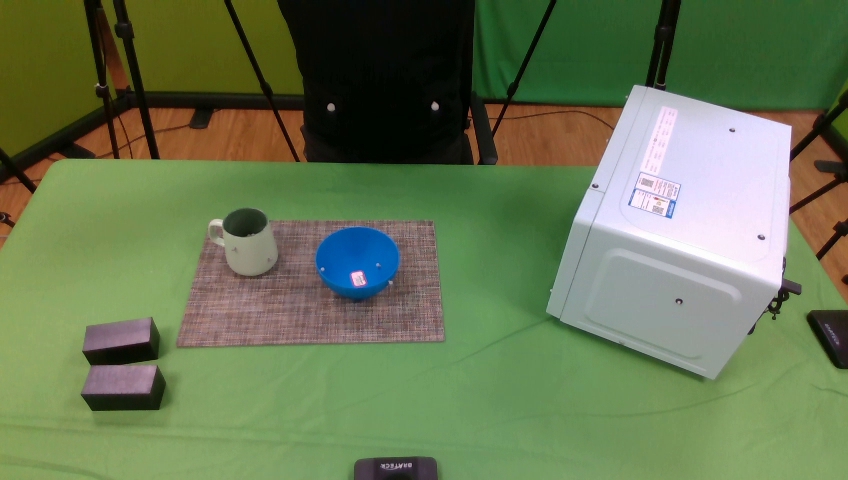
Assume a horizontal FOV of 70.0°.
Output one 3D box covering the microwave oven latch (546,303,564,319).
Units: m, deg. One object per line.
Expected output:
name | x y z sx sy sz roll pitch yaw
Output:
microwave oven latch | 0.242 0.102 1.081 0.030 0.029 0.079 21 48 17

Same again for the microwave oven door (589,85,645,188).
microwave oven door | 0.342 -0.107 1.149 0.039 0.245 0.354 20 48 15

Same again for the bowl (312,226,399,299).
bowl | -0.120 0.054 1.091 0.151 0.077 0.150 2 46 -2

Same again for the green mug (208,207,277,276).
green mug | -0.335 0.000 1.108 0.125 0.105 0.092 14 47 9

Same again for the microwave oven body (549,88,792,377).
microwave oven body | 0.456 -0.028 1.088 0.325 0.261 0.440 20 47 16
